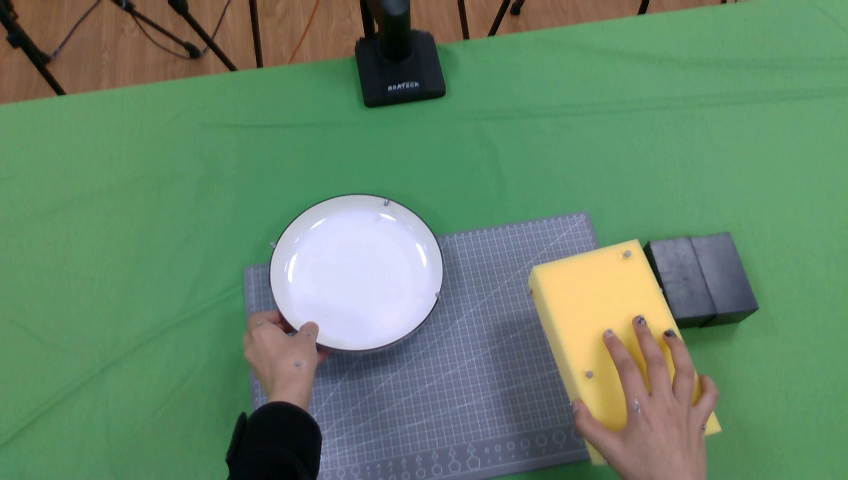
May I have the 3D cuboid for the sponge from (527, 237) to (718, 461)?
[{"bbox_3d":[0.199,0.112,0.635,0.118,0.061,0.205,-16,69,-3],"label":"sponge"}]

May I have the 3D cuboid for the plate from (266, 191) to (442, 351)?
[{"bbox_3d":[-0.082,0.038,0.735,0.209,0.038,0.207,2,64,-3],"label":"plate"}]
